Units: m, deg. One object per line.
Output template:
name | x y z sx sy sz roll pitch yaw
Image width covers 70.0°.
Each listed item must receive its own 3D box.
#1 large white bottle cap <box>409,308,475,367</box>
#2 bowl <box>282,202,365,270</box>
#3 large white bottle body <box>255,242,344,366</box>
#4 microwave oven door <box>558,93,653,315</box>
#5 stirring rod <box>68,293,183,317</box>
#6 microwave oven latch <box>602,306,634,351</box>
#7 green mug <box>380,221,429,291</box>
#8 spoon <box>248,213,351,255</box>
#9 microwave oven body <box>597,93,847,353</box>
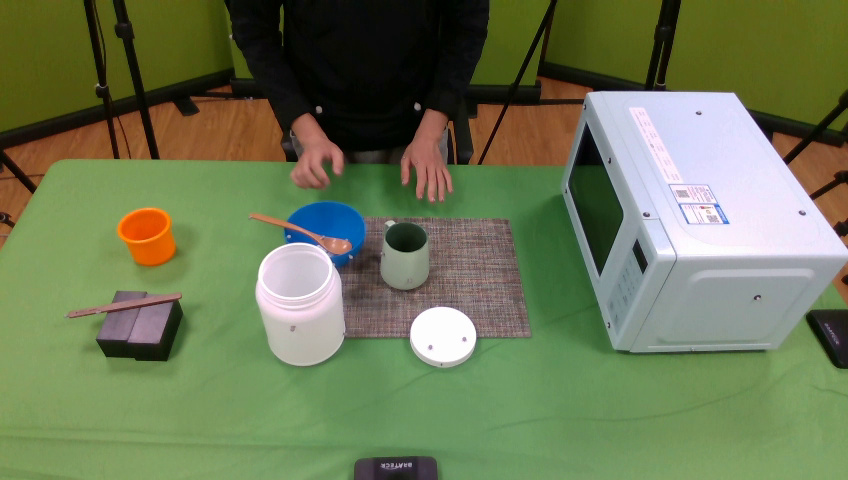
large white bottle cap | 0.031 0.165 1.041 0.115 0.018 0.114 2 47 -2
bowl | -0.185 0.006 1.136 0.151 0.077 0.150 3 46 -3
large white bottle body | -0.196 0.102 0.967 0.131 0.185 0.130 2 49 -2
microwave oven door | 0.327 -0.074 1.123 0.039 0.245 0.353 0 46 -5
stirring rod | -0.491 0.108 1.001 0.176 0.006 0.014 -8 41 -14
microwave oven latch | 0.332 0.153 1.044 0.030 0.029 0.078 -1 45 -4
green mug | -0.043 0.020 1.116 0.092 0.105 0.124 -20 50 -21
spoon | -0.228 -0.014 1.113 0.194 0.022 0.041 23 40 -15
microwave oven body | 0.475 -0.041 1.109 0.326 0.261 0.438 -1 45 -4
